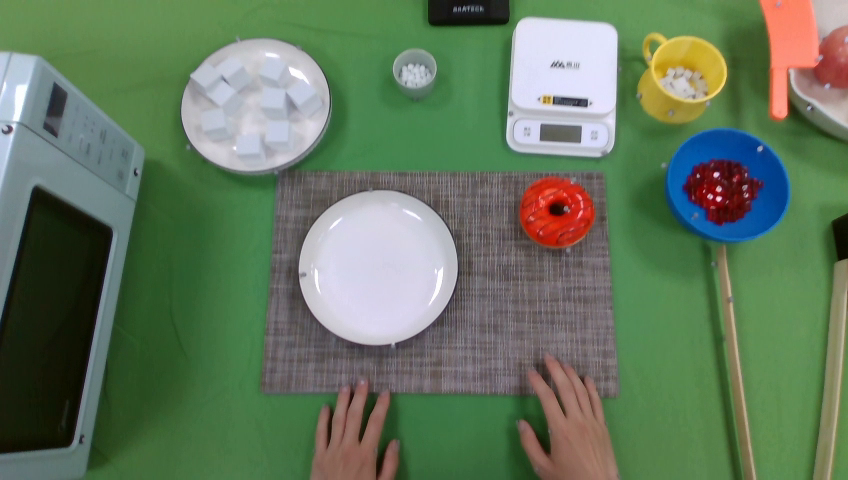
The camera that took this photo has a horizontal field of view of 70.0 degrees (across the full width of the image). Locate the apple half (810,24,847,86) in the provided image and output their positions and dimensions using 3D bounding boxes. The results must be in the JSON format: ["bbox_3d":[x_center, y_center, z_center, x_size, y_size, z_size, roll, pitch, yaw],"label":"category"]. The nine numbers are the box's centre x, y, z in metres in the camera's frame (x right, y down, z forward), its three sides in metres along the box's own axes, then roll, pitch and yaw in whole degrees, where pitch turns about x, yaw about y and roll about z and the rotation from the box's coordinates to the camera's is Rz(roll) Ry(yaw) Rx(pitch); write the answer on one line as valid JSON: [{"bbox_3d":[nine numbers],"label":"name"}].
[{"bbox_3d":[0.564,-0.243,0.824,0.080,0.075,0.053,41,83,8],"label":"apple half"}]

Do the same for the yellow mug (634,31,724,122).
[{"bbox_3d":[0.340,-0.235,0.836,0.100,0.064,0.130,-31,76,-6],"label":"yellow mug"}]

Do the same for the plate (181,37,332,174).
[{"bbox_3d":[-0.231,-0.186,0.851,0.207,0.039,0.206,0,75,1],"label":"plate"}]

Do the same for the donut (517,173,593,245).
[{"bbox_3d":[0.170,-0.041,0.796,0.099,0.048,0.098,-1,76,3],"label":"donut"}]

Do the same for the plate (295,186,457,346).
[{"bbox_3d":[-0.060,0.034,0.785,0.209,0.038,0.208,0,75,1],"label":"plate"}]

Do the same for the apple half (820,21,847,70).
[{"bbox_3d":[0.590,-0.272,0.830,0.081,0.081,0.033,40,83,11],"label":"apple half"}]

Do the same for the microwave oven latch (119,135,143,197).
[{"bbox_3d":[-0.400,-0.099,0.813,0.030,0.029,0.079,4,76,2],"label":"microwave oven latch"}]

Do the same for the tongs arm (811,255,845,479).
[{"bbox_3d":[0.484,0.201,0.740,0.028,0.028,0.386,17,76,-3],"label":"tongs arm"}]

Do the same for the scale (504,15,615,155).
[{"bbox_3d":[0.192,-0.219,0.853,0.148,0.032,0.200,4,76,3],"label":"scale"}]

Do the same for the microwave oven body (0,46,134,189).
[{"bbox_3d":[-0.561,0.038,0.680,0.326,0.261,0.439,3,76,2],"label":"microwave oven body"}]

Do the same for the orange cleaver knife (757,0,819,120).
[{"bbox_3d":[0.481,-0.256,0.800,0.077,0.012,0.210,5,76,5],"label":"orange cleaver knife"}]

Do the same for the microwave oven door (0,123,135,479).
[{"bbox_3d":[-0.418,0.085,0.659,0.039,0.245,0.354,2,75,2],"label":"microwave oven door"}]

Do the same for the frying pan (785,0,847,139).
[{"bbox_3d":[0.663,-0.173,0.793,0.307,0.103,0.483,-26,68,-4],"label":"frying pan"}]

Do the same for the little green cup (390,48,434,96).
[{"bbox_3d":[-0.015,-0.236,0.859,0.061,0.039,0.061,0,75,2],"label":"little green cup"}]

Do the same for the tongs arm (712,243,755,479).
[{"bbox_3d":[0.398,0.192,0.739,0.051,0.026,0.382,1,76,-3],"label":"tongs arm"}]

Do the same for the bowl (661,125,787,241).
[{"bbox_3d":[0.373,-0.063,0.785,0.151,0.077,0.150,0,76,2],"label":"bowl"}]
